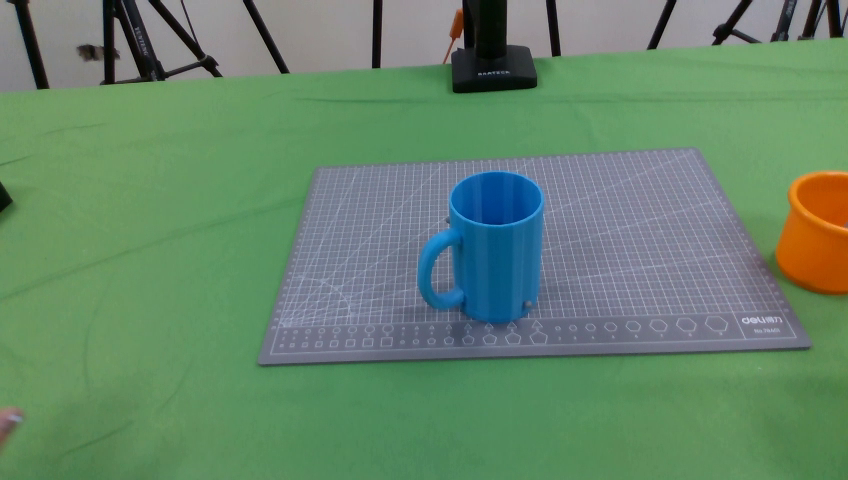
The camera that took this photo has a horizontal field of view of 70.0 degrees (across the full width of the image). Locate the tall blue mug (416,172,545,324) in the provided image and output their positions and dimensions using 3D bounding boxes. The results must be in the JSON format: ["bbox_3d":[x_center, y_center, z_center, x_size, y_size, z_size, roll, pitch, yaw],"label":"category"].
[{"bbox_3d":[0.052,0.016,0.504,0.077,0.109,0.107,20,46,26],"label":"tall blue mug"}]

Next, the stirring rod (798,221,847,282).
[{"bbox_3d":[0.382,-0.034,0.507,0.176,0.006,0.014,-52,39,12],"label":"stirring rod"}]
